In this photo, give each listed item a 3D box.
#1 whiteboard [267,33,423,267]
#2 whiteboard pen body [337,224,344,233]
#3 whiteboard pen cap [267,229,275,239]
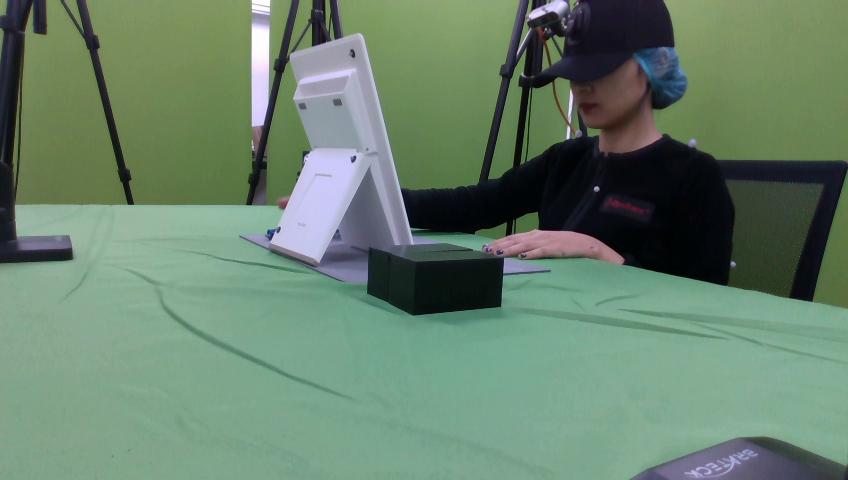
[{"bbox_3d":[-0.153,-0.097,0.819,0.144,0.305,0.216,-25,21,-29],"label":"whiteboard"},{"bbox_3d":[-0.194,-0.016,1.034,0.141,0.017,0.017,-6,11,-40],"label":"whiteboard pen body"},{"bbox_3d":[-0.240,-0.010,0.996,0.033,0.018,0.018,-5,10,-39],"label":"whiteboard pen cap"}]
